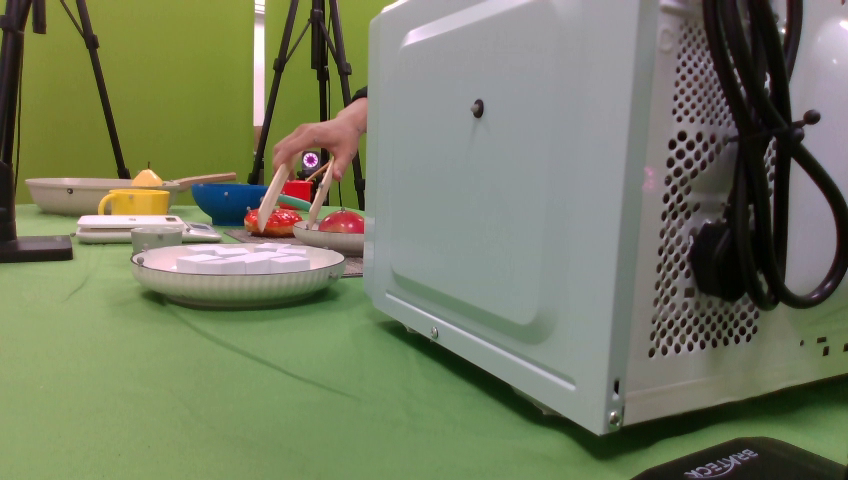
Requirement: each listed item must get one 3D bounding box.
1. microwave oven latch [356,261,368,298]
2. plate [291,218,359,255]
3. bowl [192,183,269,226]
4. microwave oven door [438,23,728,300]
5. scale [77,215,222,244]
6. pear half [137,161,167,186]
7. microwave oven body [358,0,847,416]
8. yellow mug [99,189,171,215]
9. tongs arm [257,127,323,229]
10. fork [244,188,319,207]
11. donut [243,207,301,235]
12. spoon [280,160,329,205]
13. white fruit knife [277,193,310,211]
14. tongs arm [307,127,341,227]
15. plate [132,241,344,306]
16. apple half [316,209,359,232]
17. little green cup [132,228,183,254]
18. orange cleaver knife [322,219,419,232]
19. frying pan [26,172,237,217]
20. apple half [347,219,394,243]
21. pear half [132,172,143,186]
[{"bbox_3d":[-0.019,0.033,0.530,0.079,0.029,0.030,-1,7,-26],"label":"microwave oven latch"},{"bbox_3d":[-0.098,-0.007,0.928,0.209,0.038,0.209,2,8,0],"label":"plate"},{"bbox_3d":[-0.382,-0.071,1.202,0.151,0.077,0.151,3,7,0],"label":"bowl"},{"bbox_3d":[0.181,-0.073,0.621,0.358,0.243,0.039,-2,8,-29],"label":"microwave oven door"},{"bbox_3d":[-0.434,-0.019,0.963,0.202,0.031,0.148,-1,9,-27],"label":"scale"},{"bbox_3d":[-0.602,-0.120,1.354,0.056,0.110,0.076,4,11,6],"label":"pear half"},{"bbox_3d":[0.211,-0.047,0.475,0.444,0.260,0.324,-1,7,-28],"label":"microwave oven body"},{"bbox_3d":[-0.519,-0.055,1.080,0.099,0.064,0.131,7,9,26],"label":"yellow mug"},{"bbox_3d":[-0.184,-0.101,0.855,0.028,0.028,0.387,-6,24,2],"label":"tongs arm"},{"bbox_3d":[-0.356,-0.105,1.526,0.208,0.018,0.028,16,-5,-41],"label":"fork"},{"bbox_3d":[-0.262,-0.032,1.043,0.099,0.048,0.099,4,9,0],"label":"donut"},{"bbox_3d":[-0.316,-0.159,1.640,0.194,0.022,0.041,-49,32,-20],"label":"spoon"},{"bbox_3d":[-0.364,-0.105,1.464,0.208,0.027,0.016,15,0,-34],"label":"white fruit knife"},{"bbox_3d":[-0.150,-0.103,0.857,0.051,0.026,0.384,-2,24,1],"label":"tongs arm"},{"bbox_3d":[-0.187,0.033,0.625,0.208,0.039,0.207,2,8,0],"label":"plate"},{"bbox_3d":[-0.123,-0.020,0.901,0.080,0.053,0.075,4,11,20],"label":"apple half"},{"bbox_3d":[-0.342,0.006,0.779,0.061,0.038,0.061,2,8,0],"label":"little green cup"},{"bbox_3d":[-0.097,-0.027,1.152,0.077,0.012,0.212,0,6,41],"label":"orange cleaver knife"},{"bbox_3d":[-0.624,-0.118,1.387,0.305,0.102,0.490,8,17,32],"label":"frying pan"},{"bbox_3d":[-0.084,-0.018,0.967,0.081,0.033,0.081,6,10,-1],"label":"apple half"},{"bbox_3d":[-0.638,-0.113,1.361,0.031,0.088,0.070,5,11,4],"label":"pear half"}]
